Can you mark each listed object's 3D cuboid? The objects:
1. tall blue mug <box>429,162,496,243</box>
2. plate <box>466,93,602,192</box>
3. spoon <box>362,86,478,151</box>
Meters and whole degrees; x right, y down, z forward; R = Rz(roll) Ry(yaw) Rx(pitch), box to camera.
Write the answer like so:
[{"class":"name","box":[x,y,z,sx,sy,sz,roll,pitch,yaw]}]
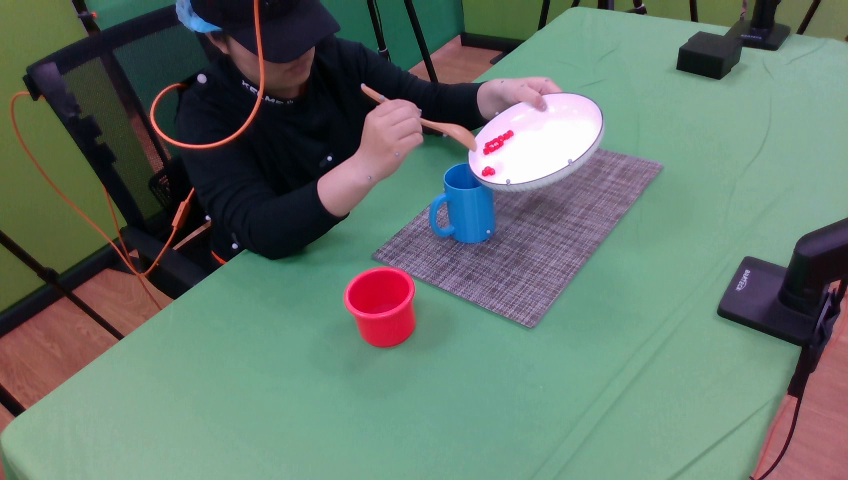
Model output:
[{"class":"tall blue mug","box":[0.067,-0.051,0.960,0.077,0.108,0.107,17,47,27]},{"class":"plate","box":[0.167,-0.142,0.912,0.207,0.039,0.206,-18,41,17]},{"class":"spoon","box":[-0.002,-0.173,0.864,0.195,0.021,0.041,19,42,-21]}]
